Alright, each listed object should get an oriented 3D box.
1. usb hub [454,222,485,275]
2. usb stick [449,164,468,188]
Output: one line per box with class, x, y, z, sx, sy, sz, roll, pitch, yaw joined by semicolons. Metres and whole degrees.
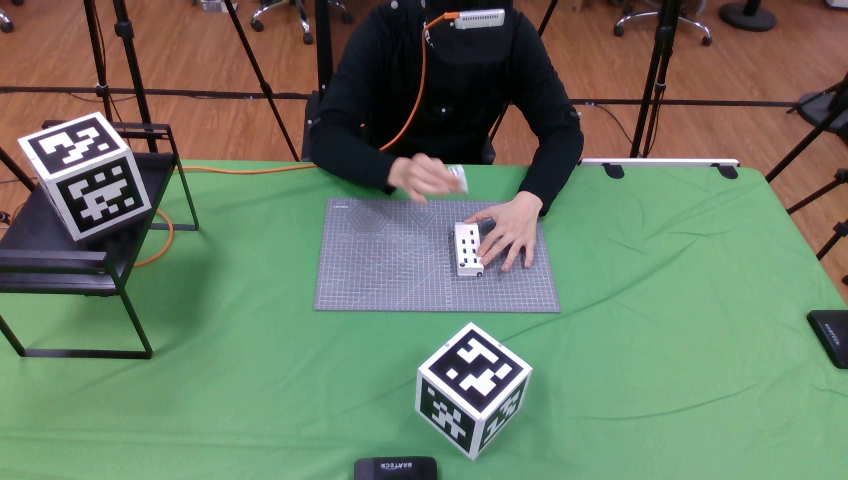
usb hub;0.087;0.015;1.178;0.049;0.025;0.124;0;45;-3
usb stick;0.062;-0.116;1.078;0.027;0.059;0.021;-39;72;0
